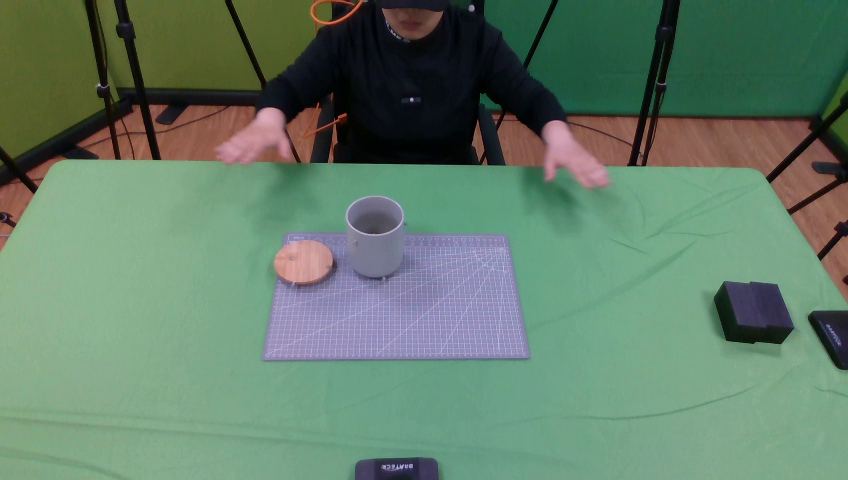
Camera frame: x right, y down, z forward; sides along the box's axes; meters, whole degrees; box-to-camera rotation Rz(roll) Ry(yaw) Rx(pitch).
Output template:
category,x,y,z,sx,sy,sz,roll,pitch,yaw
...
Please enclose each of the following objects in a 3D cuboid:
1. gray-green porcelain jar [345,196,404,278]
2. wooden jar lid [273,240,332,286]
category,x,y,z,sx,sy,sz,roll,pitch,yaw
gray-green porcelain jar,-0.091,-0.001,1.117,0.106,0.127,0.105,2,46,-2
wooden jar lid,-0.227,0.044,1.136,0.108,0.021,0.107,3,47,-3
